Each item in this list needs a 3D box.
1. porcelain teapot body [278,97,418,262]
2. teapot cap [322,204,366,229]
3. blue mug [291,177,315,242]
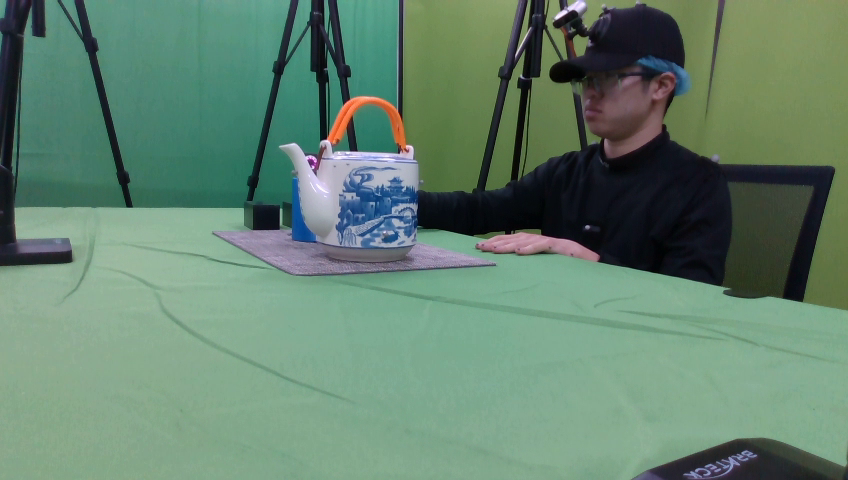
[{"bbox_3d":[-0.104,-0.086,0.842,0.206,0.225,0.144,-4,10,-38],"label":"porcelain teapot body"},{"bbox_3d":[-0.152,-0.045,1.144,0.085,0.044,0.085,0,9,0],"label":"teapot cap"},{"bbox_3d":[-0.170,-0.054,1.038,0.117,0.106,0.082,-2,9,-31],"label":"blue mug"}]
